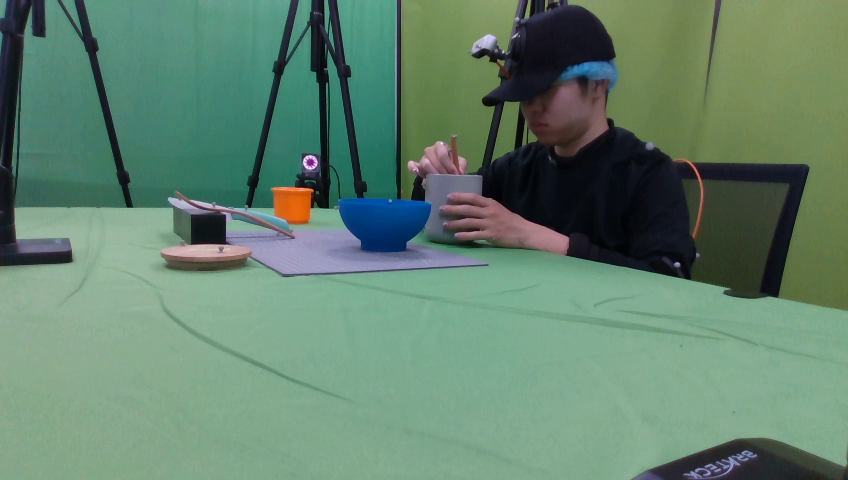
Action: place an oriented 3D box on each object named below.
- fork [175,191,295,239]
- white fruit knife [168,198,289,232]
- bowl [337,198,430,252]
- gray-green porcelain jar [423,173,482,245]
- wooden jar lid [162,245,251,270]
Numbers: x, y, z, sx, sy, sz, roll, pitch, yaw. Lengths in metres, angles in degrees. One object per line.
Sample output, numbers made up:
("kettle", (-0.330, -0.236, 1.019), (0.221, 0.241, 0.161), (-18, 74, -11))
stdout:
("fork", (-0.305, -0.039, 0.993), (0.208, 0.018, 0.028), (19, -9, -34))
("white fruit knife", (-0.329, -0.044, 1.036), (0.208, 0.027, 0.016), (14, -1, -32))
("bowl", (-0.066, -0.024, 0.966), (0.151, 0.077, 0.151), (2, 7, 0))
("gray-green porcelain jar", (0.051, -0.058, 1.116), (0.106, 0.126, 0.106), (2, 8, 0))
("wooden jar lid", (-0.278, 0.022, 0.777), (0.108, 0.020, 0.108), (2, 6, 0))
